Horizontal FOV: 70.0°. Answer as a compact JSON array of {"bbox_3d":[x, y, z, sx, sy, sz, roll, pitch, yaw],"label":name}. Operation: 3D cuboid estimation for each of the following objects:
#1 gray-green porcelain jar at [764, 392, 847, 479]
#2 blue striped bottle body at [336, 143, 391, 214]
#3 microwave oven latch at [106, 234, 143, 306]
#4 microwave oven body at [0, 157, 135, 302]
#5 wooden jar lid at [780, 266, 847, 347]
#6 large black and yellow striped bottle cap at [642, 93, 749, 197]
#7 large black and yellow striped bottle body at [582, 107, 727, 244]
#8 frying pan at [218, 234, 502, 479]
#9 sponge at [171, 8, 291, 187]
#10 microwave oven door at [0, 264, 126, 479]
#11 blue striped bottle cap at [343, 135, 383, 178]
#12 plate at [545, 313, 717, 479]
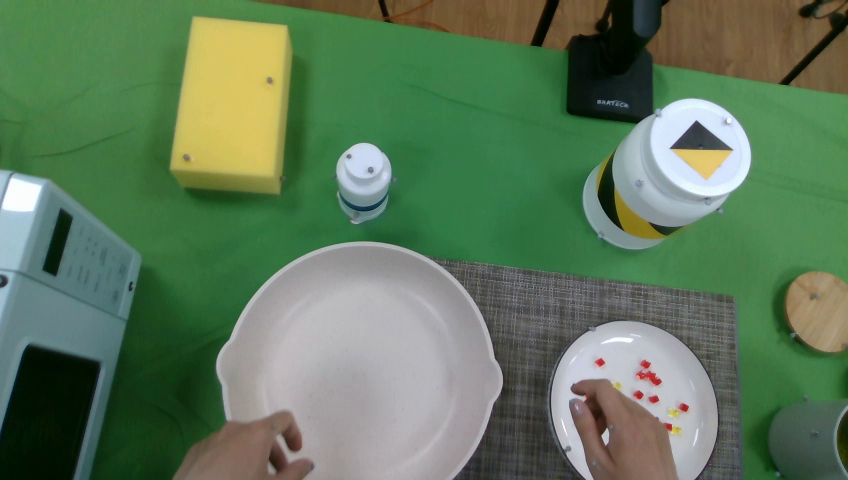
[{"bbox_3d":[0.474,0.231,0.703,0.106,0.127,0.105,2,74,-6],"label":"gray-green porcelain jar"},{"bbox_3d":[-0.073,-0.078,0.720,0.063,0.121,0.062,2,74,-6],"label":"blue striped bottle body"},{"bbox_3d":[-0.340,0.033,0.681,0.030,0.029,0.079,10,75,-4],"label":"microwave oven latch"},{"bbox_3d":[-0.496,0.155,0.528,0.326,0.261,0.439,8,75,-5],"label":"microwave oven body"},{"bbox_3d":[0.521,0.088,0.802,0.108,0.021,0.108,2,76,-6],"label":"wooden jar lid"},{"bbox_3d":[0.292,-0.103,0.652,0.115,0.019,0.114,2,76,-6],"label":"large black and yellow striped bottle cap"},{"bbox_3d":[0.282,-0.080,0.732,0.131,0.184,0.130,2,74,-6],"label":"large black and yellow striped bottle body"},{"bbox_3d":[-0.078,0.235,0.642,0.307,0.103,0.484,6,66,-2],"label":"frying pan"},{"bbox_3d":[-0.236,-0.176,0.756,0.118,0.061,0.205,3,76,-7],"label":"sponge"},{"bbox_3d":[-0.357,0.215,0.524,0.039,0.244,0.354,8,74,-5],"label":"microwave oven door"},{"bbox_3d":[-0.068,-0.093,0.671,0.044,0.021,0.044,2,77,-6],"label":"blue striped bottle cap"},{"bbox_3d":[0.243,0.192,0.726,0.209,0.038,0.208,2,75,-6],"label":"plate"}]
